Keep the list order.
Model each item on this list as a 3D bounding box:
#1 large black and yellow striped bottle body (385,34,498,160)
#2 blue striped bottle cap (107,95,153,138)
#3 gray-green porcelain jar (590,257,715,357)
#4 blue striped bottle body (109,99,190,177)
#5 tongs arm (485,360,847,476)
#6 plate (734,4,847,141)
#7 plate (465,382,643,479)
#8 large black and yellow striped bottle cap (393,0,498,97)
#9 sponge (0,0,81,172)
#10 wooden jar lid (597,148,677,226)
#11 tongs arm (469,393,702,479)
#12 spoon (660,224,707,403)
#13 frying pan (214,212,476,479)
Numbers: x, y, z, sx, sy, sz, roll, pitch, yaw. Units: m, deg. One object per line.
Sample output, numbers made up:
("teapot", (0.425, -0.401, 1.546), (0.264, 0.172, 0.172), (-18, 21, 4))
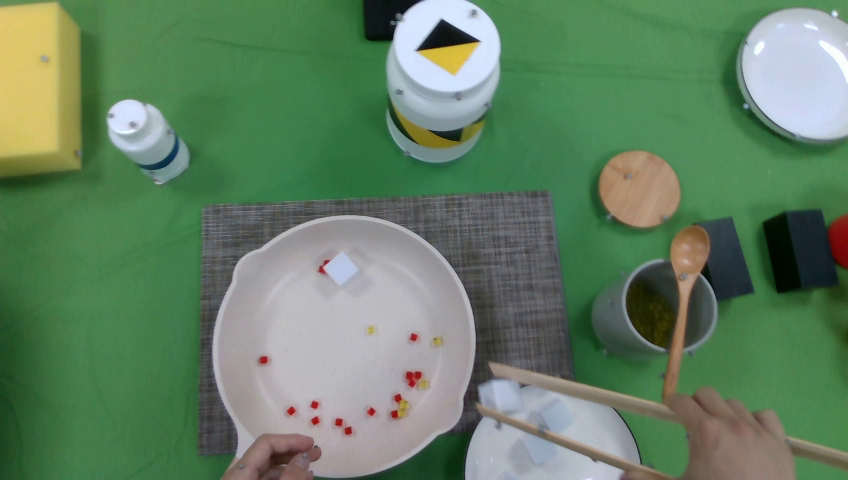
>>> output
("large black and yellow striped bottle body", (0.017, -0.190, 0.736), (0.131, 0.184, 0.130), (1, 76, -3))
("blue striped bottle cap", (-0.329, -0.139, 0.678), (0.044, 0.021, 0.044), (1, 78, -4))
("gray-green porcelain jar", (0.261, 0.084, 0.716), (0.106, 0.127, 0.105), (1, 76, -3))
("blue striped bottle body", (-0.331, -0.125, 0.727), (0.063, 0.121, 0.063), (1, 76, -3))
("tongs arm", (0.225, 0.162, 0.523), (0.385, 0.028, 0.028), (11, 48, 32))
("plate", (0.536, -0.233, 0.856), (0.209, 0.038, 0.208), (1, 76, -3))
("plate", (0.149, 0.266, 0.709), (0.208, 0.039, 0.206), (1, 78, -4))
("large black and yellow striped bottle cap", (0.023, -0.211, 0.654), (0.115, 0.019, 0.114), (1, 78, -3))
("sponge", (-0.509, -0.194, 0.762), (0.118, 0.061, 0.206), (-8, 78, -6))
("wooden jar lid", (0.283, -0.069, 0.809), (0.108, 0.021, 0.108), (1, 78, -3))
("tongs arm", (0.213, 0.181, 0.509), (0.382, 0.027, 0.050), (14, 53, 34))
("spoon", (0.271, 0.077, 0.647), (0.042, 0.021, 0.193), (13, 80, -4))
("frying pan", (-0.150, 0.190, 0.670), (0.306, 0.103, 0.486), (37, 69, 6))
